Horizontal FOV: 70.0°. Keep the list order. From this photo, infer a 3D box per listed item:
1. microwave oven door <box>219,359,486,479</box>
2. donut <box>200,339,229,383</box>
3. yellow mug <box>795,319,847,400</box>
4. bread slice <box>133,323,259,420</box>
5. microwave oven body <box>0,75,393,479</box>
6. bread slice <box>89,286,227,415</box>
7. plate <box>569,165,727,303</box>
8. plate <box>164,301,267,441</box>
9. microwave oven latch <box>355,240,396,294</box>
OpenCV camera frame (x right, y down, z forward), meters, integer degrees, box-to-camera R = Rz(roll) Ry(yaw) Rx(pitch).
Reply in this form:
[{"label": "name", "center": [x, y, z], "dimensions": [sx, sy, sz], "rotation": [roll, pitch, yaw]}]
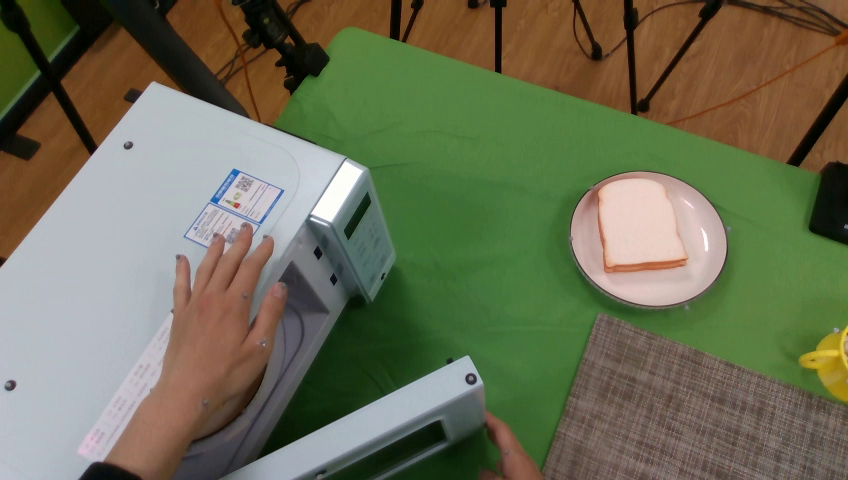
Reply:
[{"label": "microwave oven door", "center": [-0.102, 0.238, 0.631], "dimensions": [0.356, 0.246, 0.039], "rotation": [-25, 64, -6]}, {"label": "donut", "center": [-0.284, 0.129, 0.729], "dimensions": [0.099, 0.048, 0.098], "rotation": [4, 60, -6]}, {"label": "yellow mug", "center": [0.523, 0.143, 0.734], "dimensions": [0.130, 0.064, 0.099], "rotation": [1, 65, 7]}, {"label": "bread slice", "center": [-0.294, 0.168, 0.770], "dimensions": [0.104, 0.019, 0.131], "rotation": [36, 45, 23]}, {"label": "microwave oven body", "center": [-0.288, 0.083, 0.725], "dimensions": [0.324, 0.262, 0.440], "rotation": [23, 70, 15]}, {"label": "bread slice", "center": [-0.299, 0.118, 0.703], "dimensions": [0.106, 0.018, 0.134], "rotation": [33, 64, 10]}, {"label": "plate", "center": [0.304, -0.007, 0.840], "dimensions": [0.207, 0.039, 0.206], "rotation": [-2, 65, 4]}, {"label": "plate", "center": [-0.294, 0.142, 0.751], "dimensions": [0.209, 0.038, 0.207], "rotation": [-1, 68, 3]}, {"label": "microwave oven latch", "center": [-0.068, 0.033, 0.835], "dimensions": [0.030, 0.030, 0.079], "rotation": [26, 71, 16]}]
